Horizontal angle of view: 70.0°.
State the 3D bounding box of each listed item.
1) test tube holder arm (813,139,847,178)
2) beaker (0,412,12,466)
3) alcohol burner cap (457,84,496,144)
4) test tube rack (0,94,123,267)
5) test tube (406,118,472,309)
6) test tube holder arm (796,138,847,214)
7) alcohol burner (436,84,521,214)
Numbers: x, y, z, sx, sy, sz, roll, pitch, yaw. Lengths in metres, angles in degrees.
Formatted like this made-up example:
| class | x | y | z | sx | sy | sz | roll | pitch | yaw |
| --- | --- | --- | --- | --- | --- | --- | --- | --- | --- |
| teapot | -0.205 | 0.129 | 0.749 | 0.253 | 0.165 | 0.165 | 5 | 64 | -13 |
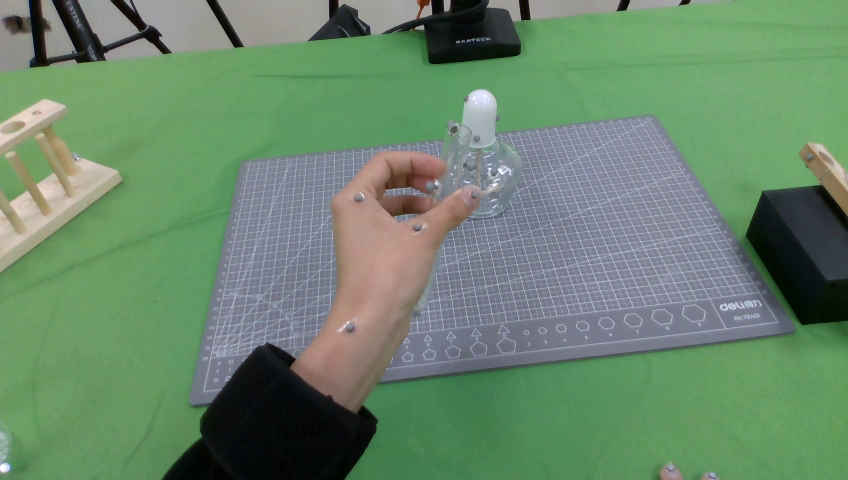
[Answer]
| class | x | y | z | sx | sy | sz | roll | pitch | yaw |
| --- | --- | --- | --- | --- | --- | --- | --- | --- | --- |
| test tube holder arm | 0.331 | -0.019 | 0.450 | 0.013 | 0.015 | 0.176 | 1 | 45 | -6 |
| beaker | -0.325 | 0.119 | 0.384 | 0.084 | 0.101 | 0.073 | -24 | 47 | -17 |
| alcohol burner cap | 0.046 | -0.108 | 0.513 | 0.034 | 0.048 | 0.033 | 1 | 44 | -1 |
| test tube rack | -0.408 | -0.031 | 0.553 | 0.066 | 0.086 | 0.241 | 19 | 49 | 22 |
| test tube | 0.007 | -0.010 | 0.394 | 0.017 | 0.151 | 0.017 | 8 | 39 | -6 |
| test tube holder arm | 0.323 | -0.050 | 0.481 | 0.010 | 0.015 | 0.087 | 1 | 45 | -6 |
| alcohol burner | 0.048 | -0.083 | 0.538 | 0.078 | 0.120 | 0.077 | -3 | 43 | 3 |
